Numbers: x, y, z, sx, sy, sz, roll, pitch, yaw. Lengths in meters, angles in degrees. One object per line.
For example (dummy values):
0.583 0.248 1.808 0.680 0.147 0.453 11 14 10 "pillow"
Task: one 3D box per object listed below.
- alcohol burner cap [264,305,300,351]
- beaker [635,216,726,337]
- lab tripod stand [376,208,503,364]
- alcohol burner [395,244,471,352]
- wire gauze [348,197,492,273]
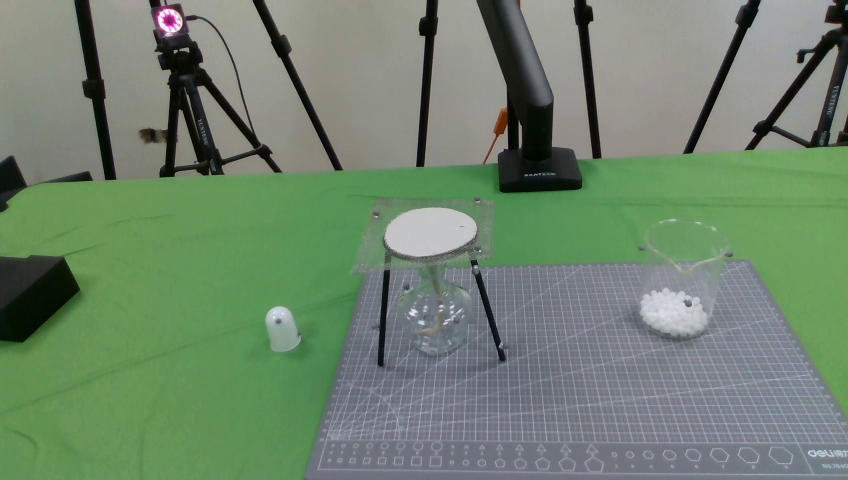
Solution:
-0.151 0.090 0.638 0.034 0.048 0.033 -3 35 3 "alcohol burner cap"
0.248 0.040 0.595 0.073 0.101 0.083 6 36 19 "beaker"
0.009 0.043 0.595 0.148 0.132 0.147 -5 32 4 "lab tripod stand"
0.008 0.053 0.599 0.078 0.120 0.077 -3 35 2 "alcohol burner"
0.001 -0.010 0.554 0.121 0.011 0.124 -2 32 8 "wire gauze"
